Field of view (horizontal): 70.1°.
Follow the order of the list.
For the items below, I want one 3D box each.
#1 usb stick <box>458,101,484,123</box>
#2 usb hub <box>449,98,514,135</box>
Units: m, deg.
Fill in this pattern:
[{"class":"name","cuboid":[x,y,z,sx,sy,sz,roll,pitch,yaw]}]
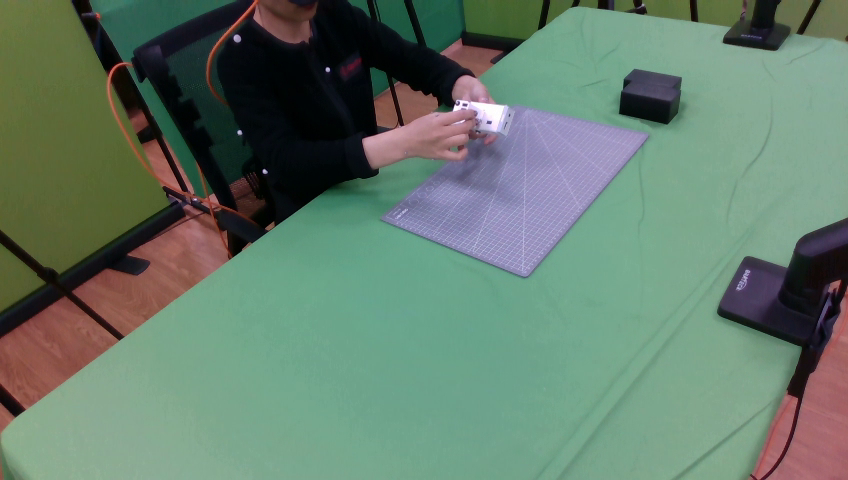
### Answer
[{"class":"usb stick","cuboid":[0.086,-0.221,1.052,0.021,0.060,0.027,18,91,43]},{"class":"usb hub","cuboid":[0.101,-0.221,1.079,0.124,0.049,0.025,21,4,42]}]
